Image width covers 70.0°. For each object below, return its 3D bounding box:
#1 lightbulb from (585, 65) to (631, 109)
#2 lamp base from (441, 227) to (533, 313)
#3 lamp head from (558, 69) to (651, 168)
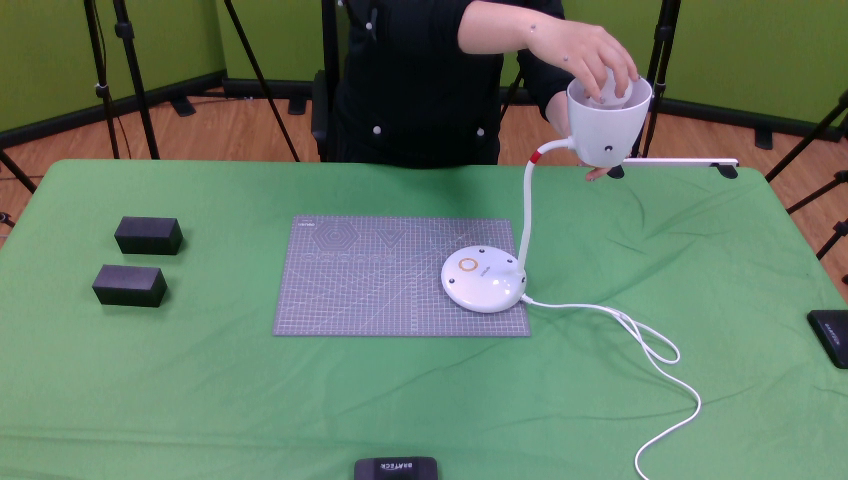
[{"bbox_3d":[0.253,-0.189,0.839,0.059,0.108,0.059,-5,41,5],"label":"lightbulb"},{"bbox_3d":[0.126,0.022,1.071,0.179,0.181,0.160,23,49,14],"label":"lamp base"},{"bbox_3d":[0.250,-0.163,0.859,0.112,0.123,0.111,0,43,0],"label":"lamp head"}]
